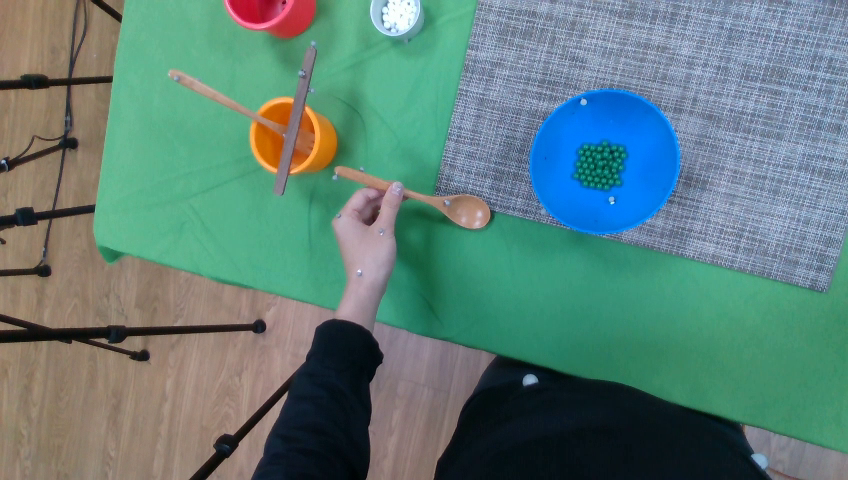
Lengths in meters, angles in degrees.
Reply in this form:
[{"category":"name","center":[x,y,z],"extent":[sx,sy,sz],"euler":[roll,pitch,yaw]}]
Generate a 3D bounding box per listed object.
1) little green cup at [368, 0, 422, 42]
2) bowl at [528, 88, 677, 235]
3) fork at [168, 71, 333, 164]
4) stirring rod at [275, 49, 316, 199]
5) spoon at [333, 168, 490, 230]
[{"category":"little green cup","center":[-0.032,-0.269,0.728],"extent":[0.061,0.039,0.061],"euler":[1,95,15]},{"category":"bowl","center":[0.192,-0.081,0.663],"extent":[0.151,0.077,0.151],"euler":[1,95,15]},{"category":"fork","center":[-0.202,-0.145,0.724],"extent":[0.209,0.018,0.028],"euler":[25,106,-33]},{"category":"stirring rod","center":[-0.151,-0.135,0.709],"extent":[0.014,0.006,0.176],"euler":[16,98,13]},{"category":"spoon","center":[-0.012,-0.052,0.713],"extent":[0.195,0.021,0.042],"euler":[16,114,-17]}]
